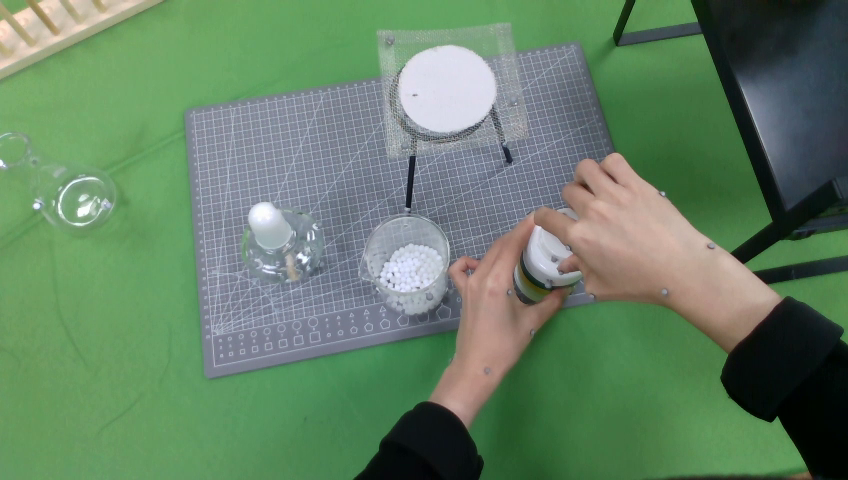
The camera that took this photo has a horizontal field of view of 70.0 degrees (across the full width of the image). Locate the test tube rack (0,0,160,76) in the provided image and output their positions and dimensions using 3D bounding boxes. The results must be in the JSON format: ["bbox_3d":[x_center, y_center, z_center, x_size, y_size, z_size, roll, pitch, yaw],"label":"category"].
[{"bbox_3d":[-0.426,-0.273,0.677,0.242,0.085,0.066,-30,74,-9],"label":"test tube rack"}]

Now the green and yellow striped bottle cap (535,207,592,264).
[{"bbox_3d":[0.115,-0.004,0.499,0.045,0.020,0.045,0,72,2],"label":"green and yellow striped bottle cap"}]

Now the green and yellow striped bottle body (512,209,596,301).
[{"bbox_3d":[0.117,0.013,0.552,0.063,0.120,0.063,0,71,2],"label":"green and yellow striped bottle body"}]

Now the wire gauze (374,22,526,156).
[{"bbox_3d":[0.021,-0.135,0.524,0.121,0.011,0.124,-5,72,-2],"label":"wire gauze"}]

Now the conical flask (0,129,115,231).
[{"bbox_3d":[-0.365,-0.062,0.586,0.075,0.122,0.075,0,71,1],"label":"conical flask"}]

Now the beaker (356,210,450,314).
[{"bbox_3d":[-0.017,0.027,0.561,0.084,0.101,0.073,-23,71,-5],"label":"beaker"}]

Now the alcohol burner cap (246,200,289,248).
[{"bbox_3d":[-0.140,-0.017,0.531,0.034,0.048,0.033,0,64,-1],"label":"alcohol burner cap"}]

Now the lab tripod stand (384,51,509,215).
[{"bbox_3d":[0.016,-0.107,0.586,0.148,0.132,0.147,0,70,0],"label":"lab tripod stand"}]

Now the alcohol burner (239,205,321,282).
[{"bbox_3d":[-0.138,-0.003,0.565,0.078,0.120,0.077,0,70,0],"label":"alcohol burner"}]
